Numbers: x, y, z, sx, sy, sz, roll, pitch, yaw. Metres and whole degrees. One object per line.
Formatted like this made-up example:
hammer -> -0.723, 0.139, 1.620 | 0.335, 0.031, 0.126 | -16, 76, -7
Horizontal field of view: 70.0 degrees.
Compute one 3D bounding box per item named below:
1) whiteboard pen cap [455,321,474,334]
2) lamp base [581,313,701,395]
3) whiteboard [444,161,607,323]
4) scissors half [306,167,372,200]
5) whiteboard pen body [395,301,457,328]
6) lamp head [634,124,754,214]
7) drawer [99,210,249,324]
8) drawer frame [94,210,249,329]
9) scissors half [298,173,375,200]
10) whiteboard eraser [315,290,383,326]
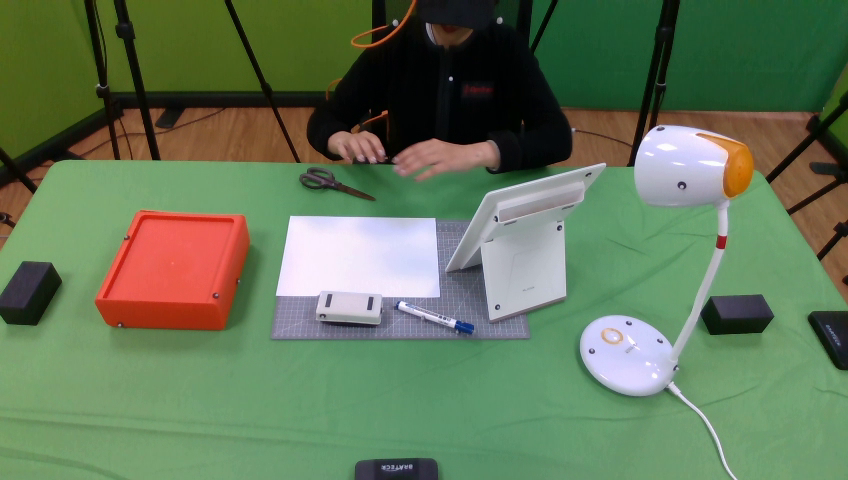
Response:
whiteboard pen cap -> 0.069, 0.151, 1.046 | 0.033, 0.018, 0.018 | 14, 47, 16
lamp base -> 0.361, 0.144, 0.972 | 0.178, 0.181, 0.160 | 34, 53, 23
whiteboard -> 0.186, 0.025, 1.029 | 0.217, 0.306, 0.143 | -14, 68, -18
scissors half -> -0.180, -0.121, 1.311 | 0.174, 0.013, 0.040 | 27, 39, 19
whiteboard pen body -> 0.015, 0.134, 1.064 | 0.140, 0.017, 0.017 | 17, 47, 16
lamp head -> 0.351, -0.089, 0.775 | 0.112, 0.113, 0.122 | -30, 30, -28
drawer -> -0.435, 0.044, 1.081 | 0.194, 0.073, 0.210 | 3, 47, -2
drawer frame -> -0.434, 0.048, 1.076 | 0.202, 0.083, 0.212 | 2, 47, -3
scissors half -> -0.188, -0.110, 1.296 | 0.175, 0.013, 0.040 | 15, 42, 6
whiteboard eraser -> -0.130, 0.120, 1.054 | 0.113, 0.042, 0.055 | 4, 47, 0
